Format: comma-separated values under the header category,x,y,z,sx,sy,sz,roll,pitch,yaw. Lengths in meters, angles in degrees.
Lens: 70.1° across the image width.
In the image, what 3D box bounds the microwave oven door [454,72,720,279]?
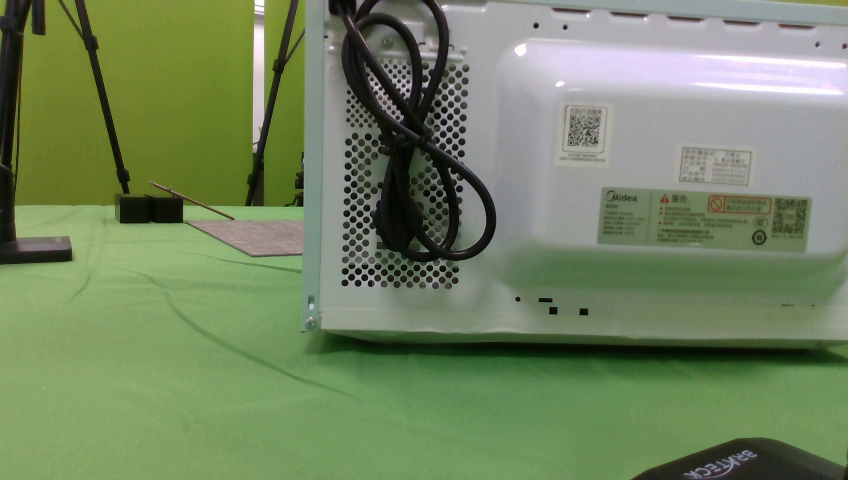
category,x,y,z,sx,sy,sz,roll,pitch,yaw
microwave oven door,0.195,-0.092,0.815,0.354,0.243,0.039,8,9,39

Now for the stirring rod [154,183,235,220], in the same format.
category,x,y,z,sx,sy,sz,roll,pitch,yaw
stirring rod,-0.472,-0.079,1.252,0.177,0.006,0.014,27,3,-35

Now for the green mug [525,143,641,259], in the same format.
category,x,y,z,sx,sy,sz,roll,pitch,yaw
green mug,0.153,-0.041,0.601,0.093,0.105,0.124,-2,9,-43

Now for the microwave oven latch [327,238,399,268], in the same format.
category,x,y,z,sx,sy,sz,roll,pitch,yaw
microwave oven latch,-0.069,0.015,0.694,0.079,0.029,0.030,3,7,-3

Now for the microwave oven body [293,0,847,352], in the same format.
category,x,y,z,sx,sy,sz,roll,pitch,yaw
microwave oven body,0.122,-0.055,0.550,0.442,0.260,0.325,3,7,-5
